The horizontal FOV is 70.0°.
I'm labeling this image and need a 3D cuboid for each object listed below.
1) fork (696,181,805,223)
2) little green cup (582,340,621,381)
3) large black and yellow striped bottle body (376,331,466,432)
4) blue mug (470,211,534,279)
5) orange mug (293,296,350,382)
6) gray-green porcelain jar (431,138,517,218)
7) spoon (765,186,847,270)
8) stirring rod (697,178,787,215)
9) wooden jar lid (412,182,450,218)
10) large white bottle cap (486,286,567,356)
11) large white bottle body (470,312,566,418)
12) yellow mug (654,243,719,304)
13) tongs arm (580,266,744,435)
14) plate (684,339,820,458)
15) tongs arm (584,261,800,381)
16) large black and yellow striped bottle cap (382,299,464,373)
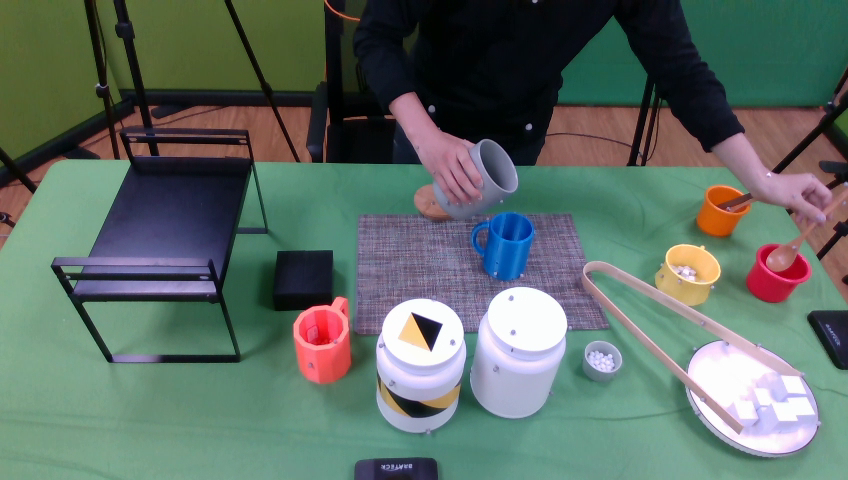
[{"bbox_3d":[0.659,-0.077,1.232,0.207,0.019,0.028,-26,34,34],"label":"fork"},{"bbox_3d":[0.295,0.204,1.014,0.061,0.039,0.061,2,45,-2],"label":"little green cup"},{"bbox_3d":[-0.007,0.189,0.905,0.131,0.185,0.130,2,46,-2],"label":"large black and yellow striped bottle body"},{"bbox_3d":[0.141,0.005,1.140,0.116,0.106,0.082,18,48,13],"label":"blue mug"},{"bbox_3d":[-0.158,0.154,0.985,0.083,0.101,0.125,17,52,11],"label":"orange mug"},{"bbox_3d":[0.084,-0.104,1.075,0.106,0.126,0.105,28,47,-35],"label":"gray-green porcelain jar"},{"bbox_3d":[0.691,-0.021,1.087,0.022,0.194,0.041,9,35,-38],"label":"spoon"},{"bbox_3d":[0.650,-0.088,1.245,0.006,0.176,0.014,29,49,-38],"label":"stirring rod"},{"bbox_3d":[0.029,-0.083,1.277,0.108,0.021,0.107,3,43,-3],"label":"wooden jar lid"},{"bbox_3d":[0.147,0.114,0.869,0.115,0.018,0.114,3,47,-3],"label":"large white bottle cap"},{"bbox_3d":[0.143,0.174,0.930,0.131,0.185,0.130,2,46,-2],"label":"large white bottle body"},{"bbox_3d":[0.504,0.054,1.154,0.099,0.064,0.130,28,50,22],"label":"yellow mug"},{"bbox_3d":[0.384,0.173,1.028,0.028,0.028,0.385,-25,46,-15],"label":"tongs arm"},{"bbox_3d":[0.523,0.256,0.982,0.208,0.039,0.206,2,46,-2],"label":"plate"},{"bbox_3d":[0.452,0.137,1.064,0.051,0.027,0.382,-34,50,-27],"label":"tongs arm"},{"bbox_3d":[-0.002,0.131,0.843,0.115,0.019,0.114,2,46,-1],"label":"large black and yellow striped bottle cap"}]
